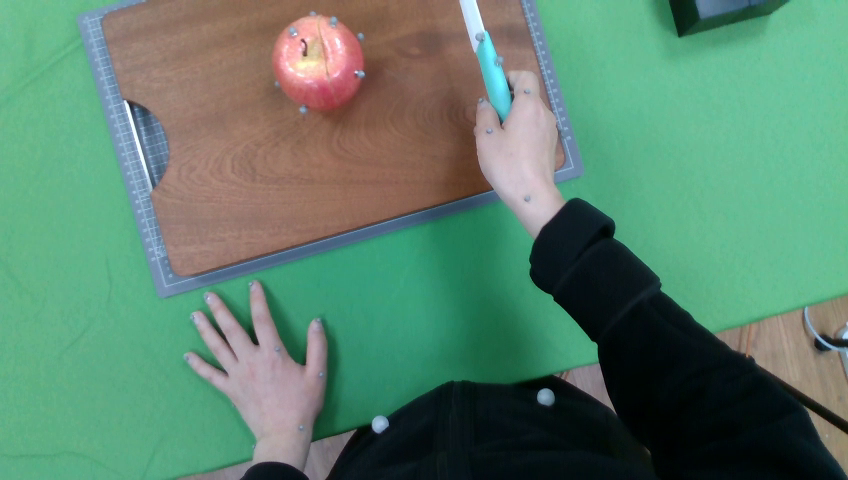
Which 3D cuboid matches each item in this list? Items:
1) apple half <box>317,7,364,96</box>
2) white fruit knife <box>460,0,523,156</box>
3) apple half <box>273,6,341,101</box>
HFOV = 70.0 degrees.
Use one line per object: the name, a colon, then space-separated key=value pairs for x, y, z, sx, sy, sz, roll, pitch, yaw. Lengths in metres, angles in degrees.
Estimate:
apple half: x=-0.071 y=-0.173 z=0.552 sx=0.033 sy=0.081 sz=0.081 roll=-11 pitch=90 yaw=2
white fruit knife: x=0.050 y=-0.176 z=0.526 sx=0.016 sy=0.027 sz=0.207 roll=-19 pitch=93 yaw=-31
apple half: x=-0.108 y=-0.165 z=0.553 sx=0.053 sy=0.074 sz=0.081 roll=-11 pitch=93 yaw=4
